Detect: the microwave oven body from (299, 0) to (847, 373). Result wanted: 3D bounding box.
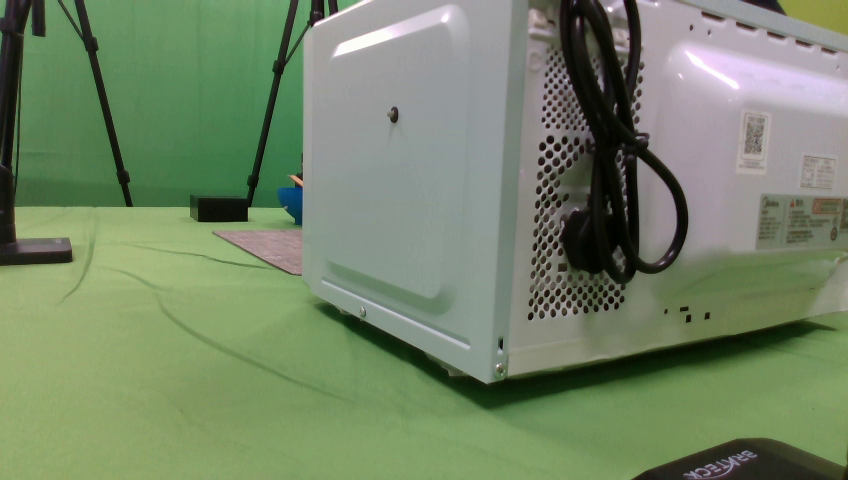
[{"bbox_3d":[0.152,-0.055,0.542,0.444,0.260,0.324,-2,7,-33],"label":"microwave oven body"}]

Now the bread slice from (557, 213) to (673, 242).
[{"bbox_3d":[0.185,-0.012,0.581,0.107,0.018,0.134,-5,3,11],"label":"bread slice"}]

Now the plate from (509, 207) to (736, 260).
[{"bbox_3d":[0.187,-0.008,0.588,0.208,0.039,0.207,1,6,0],"label":"plate"}]

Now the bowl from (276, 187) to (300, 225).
[{"bbox_3d":[-0.241,-0.073,1.302,0.151,0.077,0.151,2,7,0],"label":"bowl"}]

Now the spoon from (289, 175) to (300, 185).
[{"bbox_3d":[-0.261,-0.111,1.343,0.042,0.021,0.192,-8,33,-30],"label":"spoon"}]

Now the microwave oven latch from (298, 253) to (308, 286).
[{"bbox_3d":[-0.081,0.028,0.582,0.079,0.029,0.030,-1,7,-31],"label":"microwave oven latch"}]

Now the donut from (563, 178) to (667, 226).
[{"bbox_3d":[0.185,-0.036,0.588,0.099,0.048,0.099,-1,5,0],"label":"donut"}]

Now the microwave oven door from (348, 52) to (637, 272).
[{"bbox_3d":[0.091,-0.086,0.729,0.357,0.243,0.039,0,8,-17],"label":"microwave oven door"}]

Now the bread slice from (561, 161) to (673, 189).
[{"bbox_3d":[0.185,-0.062,0.579,0.104,0.019,0.132,6,5,15],"label":"bread slice"}]
